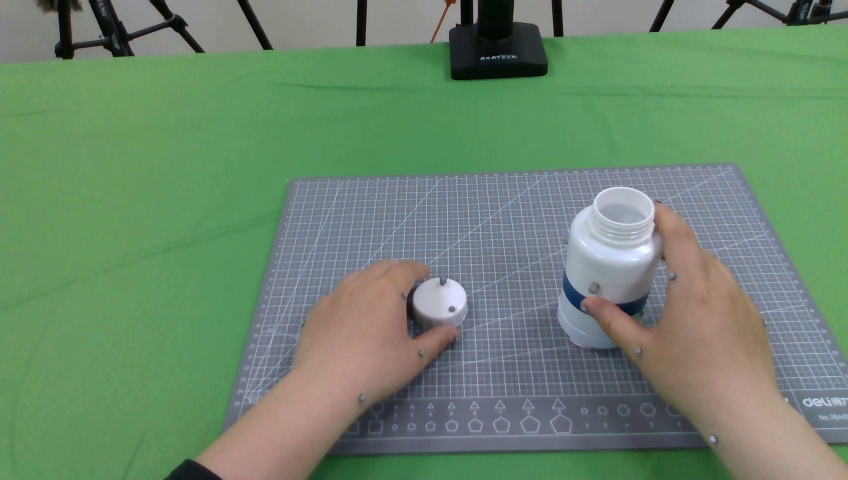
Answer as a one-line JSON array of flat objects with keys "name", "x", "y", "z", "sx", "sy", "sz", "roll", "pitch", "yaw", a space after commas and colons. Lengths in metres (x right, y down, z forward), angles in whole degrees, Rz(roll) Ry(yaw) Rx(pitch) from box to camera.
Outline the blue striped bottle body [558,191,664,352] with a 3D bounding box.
[{"name": "blue striped bottle body", "x": 0.133, "y": 0.022, "z": 0.435, "sx": 0.063, "sy": 0.122, "sz": 0.062, "roll": -2, "pitch": 45, "yaw": 3}]

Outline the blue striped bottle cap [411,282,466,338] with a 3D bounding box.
[{"name": "blue striped bottle cap", "x": 0.012, "y": 0.056, "z": 0.487, "sx": 0.044, "sy": 0.021, "sz": 0.044, "roll": 0, "pitch": 43, "yaw": 1}]
